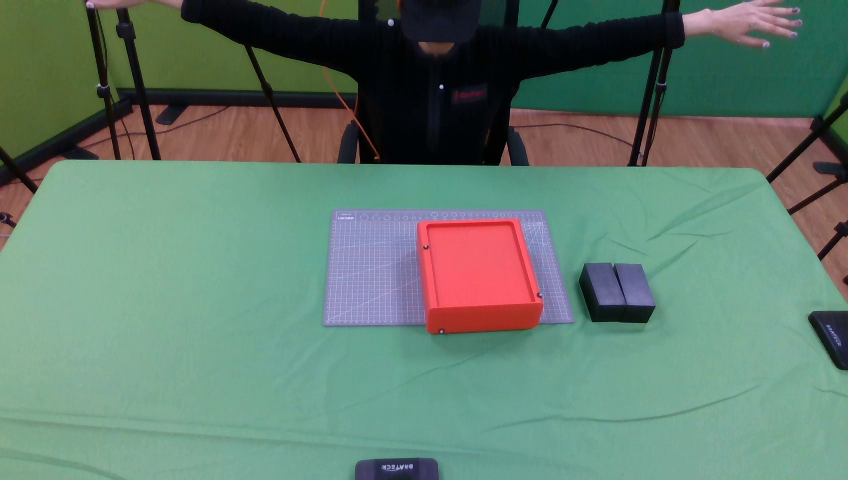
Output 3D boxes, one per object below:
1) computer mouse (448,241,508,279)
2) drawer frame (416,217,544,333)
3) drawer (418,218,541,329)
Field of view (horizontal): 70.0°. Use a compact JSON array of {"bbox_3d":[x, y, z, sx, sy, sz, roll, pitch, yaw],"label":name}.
[{"bbox_3d":[0.102,0.036,1.130,0.117,0.041,0.062,11,43,-13],"label":"computer mouse"},{"bbox_3d":[0.094,0.058,1.104,0.202,0.083,0.212,-2,47,-7],"label":"drawer frame"},{"bbox_3d":[0.094,0.057,1.107,0.195,0.073,0.210,-1,47,-6],"label":"drawer"}]
